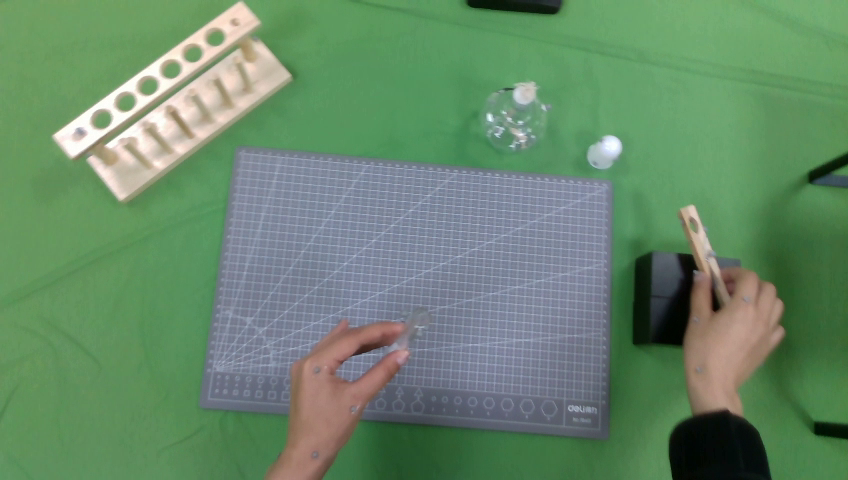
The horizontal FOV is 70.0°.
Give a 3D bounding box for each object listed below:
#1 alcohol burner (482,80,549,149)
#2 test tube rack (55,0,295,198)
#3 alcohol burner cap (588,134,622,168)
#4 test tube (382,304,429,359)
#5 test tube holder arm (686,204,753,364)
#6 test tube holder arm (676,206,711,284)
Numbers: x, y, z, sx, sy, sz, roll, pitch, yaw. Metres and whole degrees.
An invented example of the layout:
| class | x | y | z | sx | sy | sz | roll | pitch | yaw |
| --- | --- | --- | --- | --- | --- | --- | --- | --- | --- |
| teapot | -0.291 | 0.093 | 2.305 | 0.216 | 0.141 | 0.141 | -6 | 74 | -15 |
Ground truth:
| class | x | y | z | sx | sy | sz | roll | pitch | yaw |
| --- | --- | --- | --- | --- | --- | --- | --- | --- | --- |
| alcohol burner | 0.107 | -0.148 | 0.684 | 0.078 | 0.119 | 0.077 | 1 | 78 | -5 |
| test tube rack | -0.267 | -0.156 | 0.676 | 0.242 | 0.085 | 0.066 | -39 | 83 | -9 |
| alcohol burner cap | 0.217 | -0.108 | 0.719 | 0.034 | 0.048 | 0.033 | 1 | 78 | -3 |
| test tube | -0.019 | 0.083 | 0.528 | 0.017 | 0.151 | 0.017 | 5 | 68 | -12 |
| test tube holder arm | 0.314 | 0.046 | 0.648 | 0.013 | 0.015 | 0.177 | -19 | 80 | 4 |
| test tube holder arm | 0.294 | 0.005 | 0.656 | 0.010 | 0.015 | 0.087 | -19 | 80 | 4 |
